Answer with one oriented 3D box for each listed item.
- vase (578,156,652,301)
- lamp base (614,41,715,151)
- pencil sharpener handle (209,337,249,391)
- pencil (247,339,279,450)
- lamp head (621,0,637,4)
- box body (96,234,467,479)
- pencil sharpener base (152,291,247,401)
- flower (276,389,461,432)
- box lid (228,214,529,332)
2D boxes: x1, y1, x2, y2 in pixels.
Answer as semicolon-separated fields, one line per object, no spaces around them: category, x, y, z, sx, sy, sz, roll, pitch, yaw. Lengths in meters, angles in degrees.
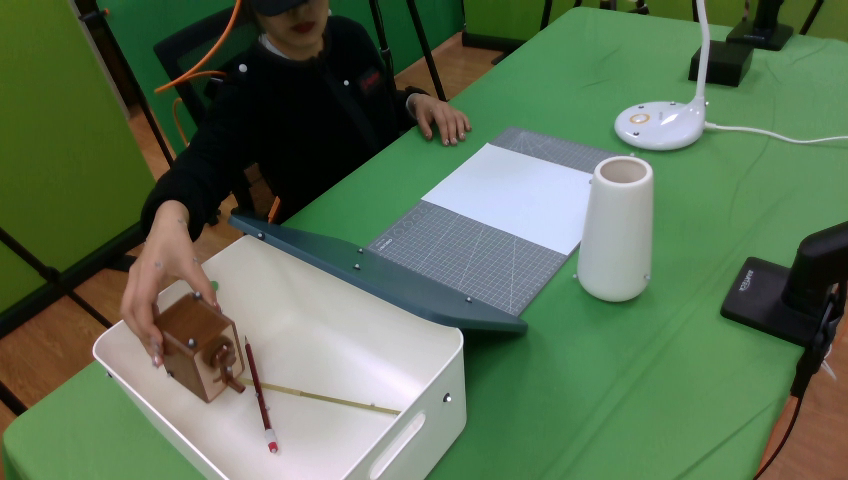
vase;0.261;-0.011;0.812;0.098;0.201;0.097;-5;40;4
lamp base;0.449;-0.277;1.106;0.179;0.181;0.160;1;41;9
pencil sharpener handle;-0.211;0.139;0.669;0.030;0.068;0.036;29;48;20
pencil;-0.215;0.195;0.791;0.012;0.012;0.192;-20;41;-13
lamp head;0.319;-0.453;0.962;0.113;0.123;0.112;20;33;-13
box body;-0.155;0.169;0.707;0.361;0.161;0.255;23;49;33
pencil sharpener base;-0.254;0.124;0.695;0.076;0.107;0.061;29;49;20
flower;-0.122;0.203;0.771;0.360;0.038;0.044;2;77;22
box lid;-0.061;0.045;0.812;0.368;0.265;0.015;22;93;32
